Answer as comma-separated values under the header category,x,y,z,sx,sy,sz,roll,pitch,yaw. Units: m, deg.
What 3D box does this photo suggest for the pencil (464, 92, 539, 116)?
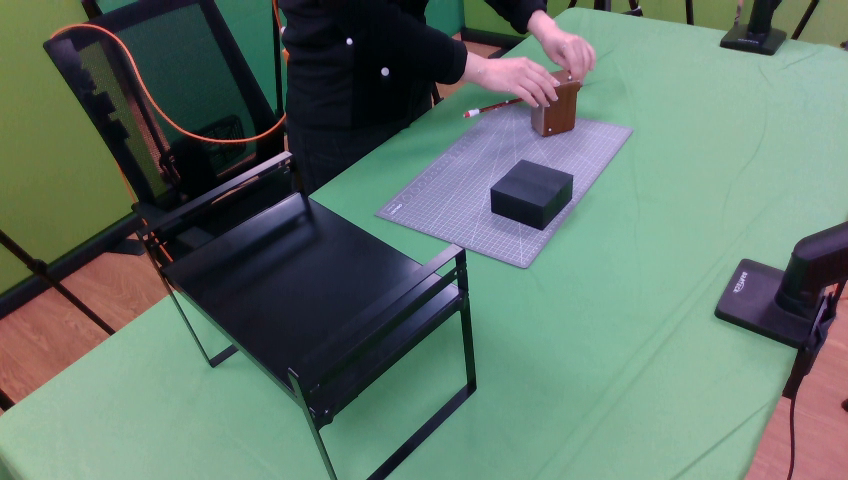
category,x,y,z,sx,sy,sz,roll,pitch,yaw
pencil,0.167,-0.264,1.151,0.194,0.012,0.012,-17,41,-8

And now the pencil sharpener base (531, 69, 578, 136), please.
category,x,y,z,sx,sy,sz,roll,pitch,yaw
pencil sharpener base,0.256,-0.268,1.179,0.077,0.107,0.061,-15,41,-9

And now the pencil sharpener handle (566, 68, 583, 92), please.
category,x,y,z,sx,sy,sz,roll,pitch,yaw
pencil sharpener handle,0.297,-0.314,1.179,0.031,0.036,0.067,-15,51,-9
